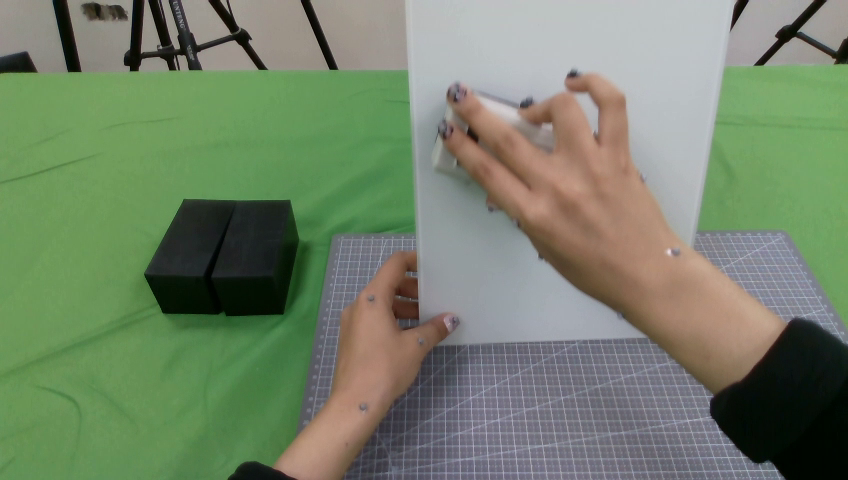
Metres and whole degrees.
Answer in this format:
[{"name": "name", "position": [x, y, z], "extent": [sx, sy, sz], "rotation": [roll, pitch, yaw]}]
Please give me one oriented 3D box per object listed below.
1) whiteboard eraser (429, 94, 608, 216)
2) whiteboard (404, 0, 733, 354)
[{"name": "whiteboard eraser", "position": [0.064, -0.059, 0.416], "extent": [0.113, 0.056, 0.041], "rotation": [16, 24, -5]}, {"name": "whiteboard", "position": [0.098, -0.077, 0.501], "extent": [0.217, 0.307, 0.143], "rotation": [-2, 24, 0]}]
